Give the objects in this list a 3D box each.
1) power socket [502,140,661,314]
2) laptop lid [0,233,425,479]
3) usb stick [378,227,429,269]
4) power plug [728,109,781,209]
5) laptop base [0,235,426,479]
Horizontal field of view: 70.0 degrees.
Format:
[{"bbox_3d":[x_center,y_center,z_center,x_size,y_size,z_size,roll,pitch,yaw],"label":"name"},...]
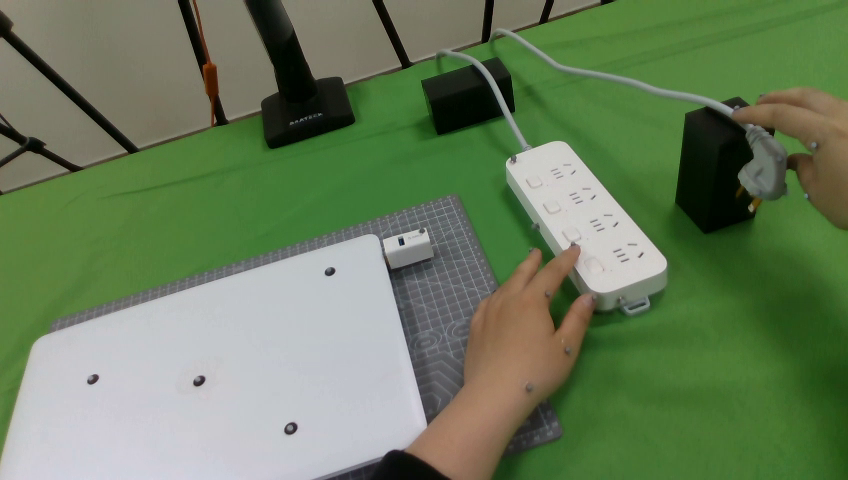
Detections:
[{"bbox_3d":[0.142,-0.023,0.576,0.072,0.033,0.224,-19,44,-5],"label":"power socket"},{"bbox_3d":[-0.191,0.122,0.518,0.357,0.013,0.239,-17,46,-1],"label":"laptop lid"},{"bbox_3d":[-0.027,0.009,0.583,0.059,0.027,0.021,-18,45,2],"label":"usb stick"},{"bbox_3d":[0.260,-0.063,0.486,0.035,0.053,0.072,9,49,-7],"label":"power plug"},{"bbox_3d":[-0.190,0.128,0.528,0.354,0.023,0.233,-18,48,-2],"label":"laptop base"}]
